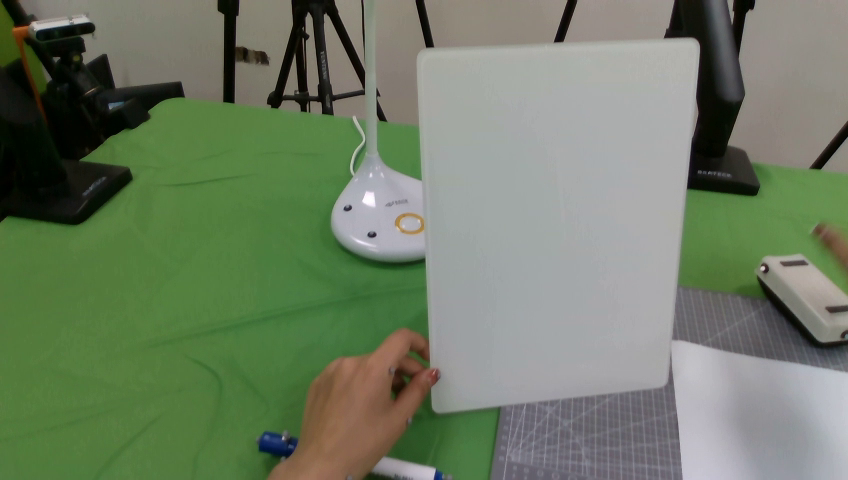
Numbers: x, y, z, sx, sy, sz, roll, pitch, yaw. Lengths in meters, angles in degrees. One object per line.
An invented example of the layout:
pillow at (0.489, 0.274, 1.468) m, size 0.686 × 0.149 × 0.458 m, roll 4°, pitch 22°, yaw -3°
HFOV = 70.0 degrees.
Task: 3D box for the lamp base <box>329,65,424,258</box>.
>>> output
lamp base at (-0.041, -0.098, 0.700) m, size 0.161 × 0.182 × 0.177 m, roll -23°, pitch 41°, yaw -28°

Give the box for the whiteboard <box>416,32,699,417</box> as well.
whiteboard at (0.099, -0.022, 0.550) m, size 0.217 × 0.307 × 0.143 m, roll -5°, pitch 19°, yaw -7°

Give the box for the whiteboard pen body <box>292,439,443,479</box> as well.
whiteboard pen body at (-0.055, 0.171, 0.473) m, size 0.140 × 0.017 × 0.017 m, roll 9°, pitch 38°, yaw 7°

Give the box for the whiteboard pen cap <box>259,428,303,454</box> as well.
whiteboard pen cap at (-0.113, 0.160, 0.482) m, size 0.033 × 0.018 × 0.018 m, roll 9°, pitch 38°, yaw 7°

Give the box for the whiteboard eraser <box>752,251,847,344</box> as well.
whiteboard eraser at (0.393, 0.058, 0.621) m, size 0.056 × 0.042 × 0.111 m, roll -6°, pitch 38°, yaw -7°
